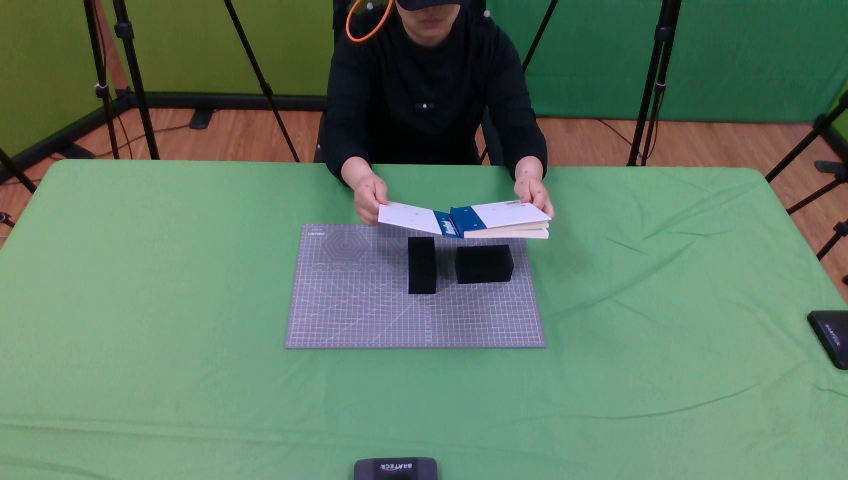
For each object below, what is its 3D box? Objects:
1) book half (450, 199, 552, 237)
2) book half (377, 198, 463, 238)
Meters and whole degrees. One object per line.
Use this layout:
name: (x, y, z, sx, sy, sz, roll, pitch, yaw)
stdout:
book half: (0.128, -0.044, 1.077, 0.149, 0.016, 0.209, -8, 13, -2)
book half: (-0.012, -0.040, 1.068, 0.143, 0.007, 0.209, 12, 13, -6)
